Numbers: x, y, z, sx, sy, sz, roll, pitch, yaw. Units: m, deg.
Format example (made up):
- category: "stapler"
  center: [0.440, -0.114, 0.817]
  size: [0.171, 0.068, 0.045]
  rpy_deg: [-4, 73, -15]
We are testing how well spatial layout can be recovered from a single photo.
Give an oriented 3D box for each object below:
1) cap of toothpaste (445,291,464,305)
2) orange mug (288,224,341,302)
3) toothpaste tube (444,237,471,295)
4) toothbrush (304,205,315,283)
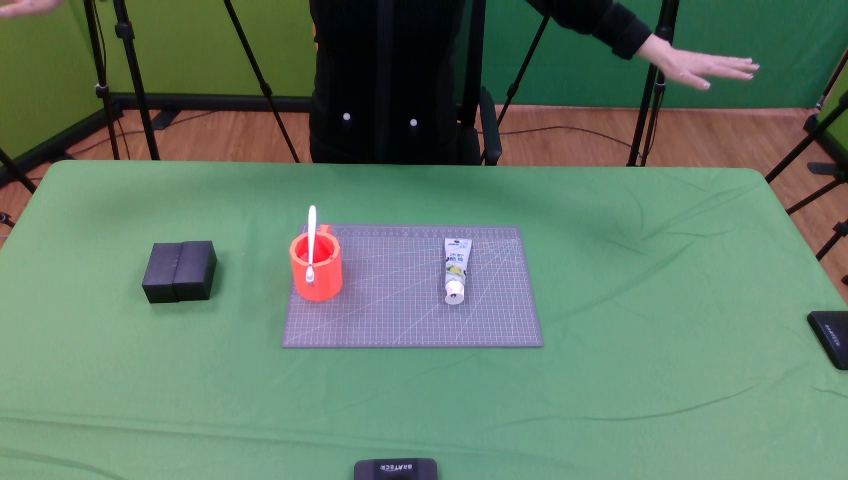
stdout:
- category: "cap of toothpaste"
  center: [0.054, 0.103, 1.088]
  size: [0.037, 0.037, 0.011]
  rpy_deg: [-4, 48, -7]
- category: "orange mug"
  center: [-0.192, 0.034, 1.094]
  size: [0.083, 0.101, 0.125]
  rpy_deg: [7, 50, 2]
- category: "toothpaste tube"
  center: [0.062, 0.049, 1.149]
  size: [0.055, 0.034, 0.164]
  rpy_deg: [9, 42, -3]
- category: "toothbrush"
  center: [-0.199, 0.001, 1.052]
  size: [0.014, 0.017, 0.180]
  rpy_deg: [-5, 46, -3]
